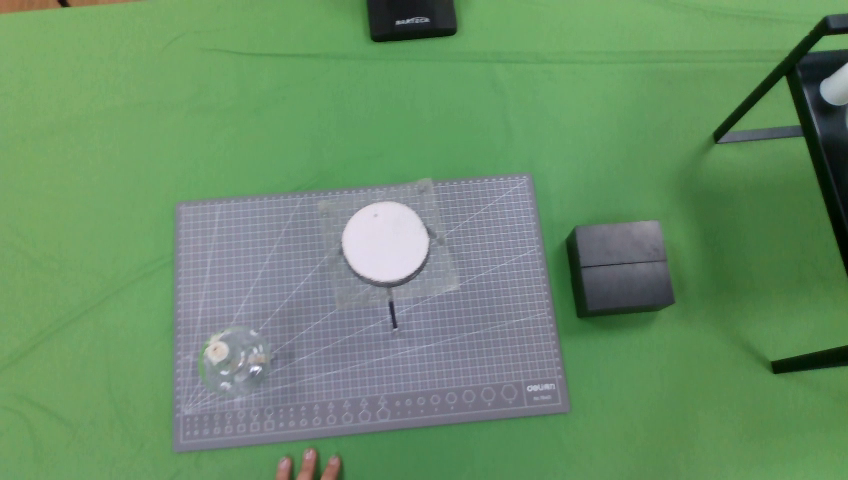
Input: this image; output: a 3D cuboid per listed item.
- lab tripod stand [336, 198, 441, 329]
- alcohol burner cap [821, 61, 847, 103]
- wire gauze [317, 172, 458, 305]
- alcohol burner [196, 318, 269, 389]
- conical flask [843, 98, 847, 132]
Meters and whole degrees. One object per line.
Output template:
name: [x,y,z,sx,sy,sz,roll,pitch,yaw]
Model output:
lab tripod stand: [-0.038,0.014,0.674,0.148,0.132,0.147,1,72,-1]
alcohol burner cap: [0.422,-0.161,0.598,0.034,0.048,0.033,0,75,0]
wire gauze: [-0.038,-0.002,0.609,0.125,0.011,0.120,-10,75,-5]
alcohol burner: [-0.210,0.119,0.650,0.078,0.120,0.077,1,71,-1]
conical flask: [0.417,-0.122,0.497,0.075,0.122,0.075,0,76,1]
